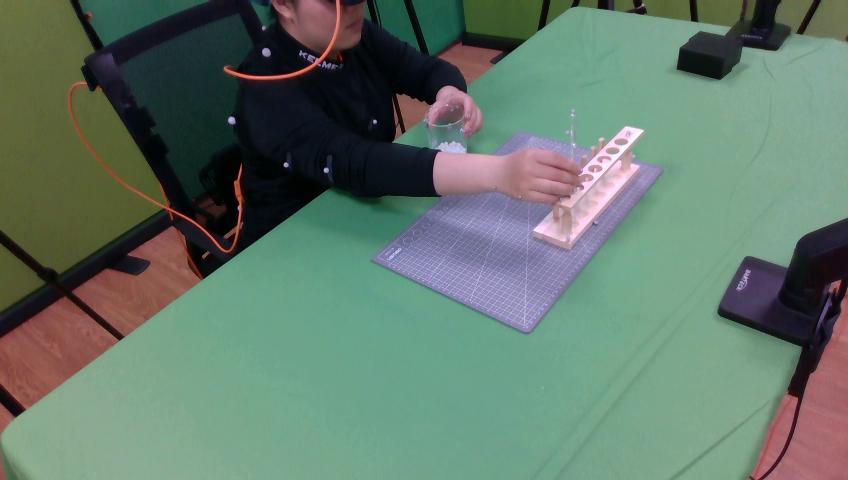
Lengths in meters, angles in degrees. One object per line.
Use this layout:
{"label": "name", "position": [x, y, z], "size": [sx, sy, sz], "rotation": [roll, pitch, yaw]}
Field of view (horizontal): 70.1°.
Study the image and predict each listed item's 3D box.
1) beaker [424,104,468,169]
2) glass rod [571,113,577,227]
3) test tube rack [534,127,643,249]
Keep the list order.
{"label": "beaker", "position": [0.044, -0.190, 1.116], "size": [0.073, 0.101, 0.084], "rotation": [10, 46, 19]}
{"label": "glass rod", "position": [0.223, -0.098, 0.899], "size": [0.008, 0.200, 0.008], "rotation": [-7, 38, 6]}
{"label": "test tube rack", "position": [0.272, -0.094, 0.990], "size": [0.066, 0.085, 0.243], "rotation": [23, 50, 33]}
